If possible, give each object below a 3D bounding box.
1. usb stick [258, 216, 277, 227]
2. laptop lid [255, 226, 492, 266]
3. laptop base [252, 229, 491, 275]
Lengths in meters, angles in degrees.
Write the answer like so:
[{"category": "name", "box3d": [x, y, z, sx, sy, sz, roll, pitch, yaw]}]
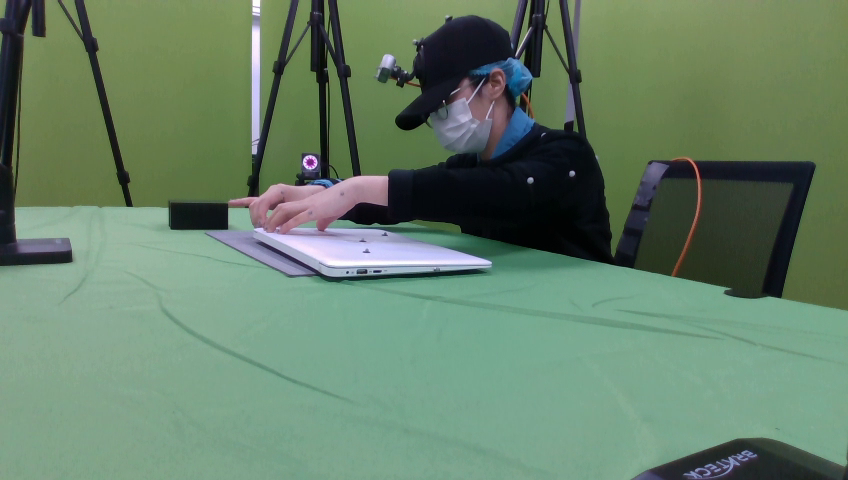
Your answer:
[{"category": "usb stick", "box3d": [-0.261, -0.023, 1.016, 0.021, 0.027, 0.059, 2, 12, -29]}, {"category": "laptop lid", "box3d": [-0.092, 0.004, 0.888, 0.243, 0.013, 0.355, 0, 8, -28]}, {"category": "laptop base", "box3d": [-0.094, 0.015, 0.889, 0.237, 0.023, 0.352, 2, 7, -30]}]
